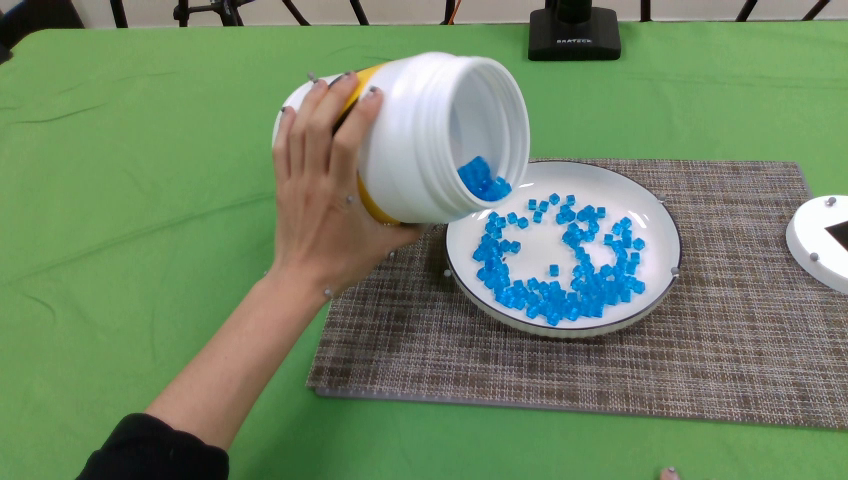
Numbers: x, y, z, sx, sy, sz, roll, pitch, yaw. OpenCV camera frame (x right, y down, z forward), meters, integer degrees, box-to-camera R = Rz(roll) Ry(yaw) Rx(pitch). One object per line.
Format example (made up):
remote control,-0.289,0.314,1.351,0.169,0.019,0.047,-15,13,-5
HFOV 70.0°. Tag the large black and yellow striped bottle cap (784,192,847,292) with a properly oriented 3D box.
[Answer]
large black and yellow striped bottle cap,0.387,0.001,0.543,0.115,0.019,0.114,-1,49,1

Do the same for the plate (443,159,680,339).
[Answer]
plate,0.121,0.006,0.552,0.207,0.039,0.205,-3,47,3

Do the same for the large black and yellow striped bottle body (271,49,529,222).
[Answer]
large black and yellow striped bottle body,-0.021,-0.080,0.494,0.183,0.132,0.130,2,43,41
